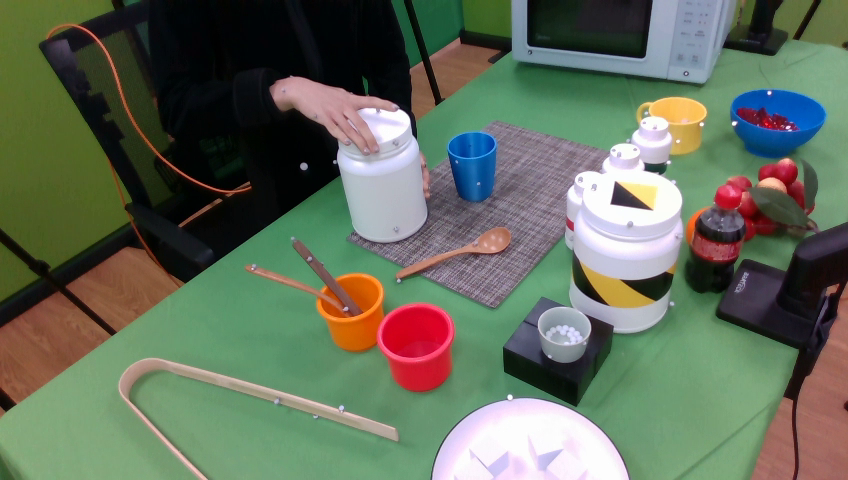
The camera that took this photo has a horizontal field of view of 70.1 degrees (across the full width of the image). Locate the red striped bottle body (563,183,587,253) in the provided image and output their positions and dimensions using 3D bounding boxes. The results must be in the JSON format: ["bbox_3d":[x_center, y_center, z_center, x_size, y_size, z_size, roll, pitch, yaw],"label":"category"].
[{"bbox_3d":[0.246,-0.041,0.910,0.063,0.120,0.062,-2,38,2],"label":"red striped bottle body"}]

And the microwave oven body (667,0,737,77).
[{"bbox_3d":[0.462,-0.552,1.368,0.439,0.261,0.326,15,45,26],"label":"microwave oven body"}]

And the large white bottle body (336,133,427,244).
[{"bbox_3d":[-0.068,-0.101,0.974,0.130,0.185,0.130,-4,40,4],"label":"large white bottle body"}]

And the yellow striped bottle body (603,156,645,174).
[{"bbox_3d":[0.313,-0.089,0.956,0.063,0.121,0.062,-4,40,4],"label":"yellow striped bottle body"}]

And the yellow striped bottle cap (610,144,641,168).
[{"bbox_3d":[0.307,-0.128,0.923,0.044,0.019,0.044,-6,40,5],"label":"yellow striped bottle cap"}]

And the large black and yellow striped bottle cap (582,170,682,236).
[{"bbox_3d":[0.252,-0.048,0.735,0.115,0.019,0.114,-3,40,3],"label":"large black and yellow striped bottle cap"}]

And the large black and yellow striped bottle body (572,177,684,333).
[{"bbox_3d":[0.262,0.017,0.788,0.131,0.185,0.130,-5,40,4],"label":"large black and yellow striped bottle body"}]

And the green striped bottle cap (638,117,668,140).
[{"bbox_3d":[0.369,-0.180,0.974,0.044,0.020,0.044,-4,41,4],"label":"green striped bottle cap"}]

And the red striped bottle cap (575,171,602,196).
[{"bbox_3d":[0.242,-0.081,0.876,0.044,0.018,0.044,-5,44,5],"label":"red striped bottle cap"}]

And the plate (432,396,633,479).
[{"bbox_3d":[0.112,0.261,0.634,0.209,0.038,0.208,-5,40,4],"label":"plate"}]

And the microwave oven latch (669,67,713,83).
[{"bbox_3d":[0.556,-0.349,1.261,0.078,0.029,0.030,16,46,27],"label":"microwave oven latch"}]

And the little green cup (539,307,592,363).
[{"bbox_3d":[0.168,0.115,0.721,0.061,0.039,0.061,-4,42,4],"label":"little green cup"}]

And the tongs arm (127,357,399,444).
[{"bbox_3d":[-0.213,0.205,0.755,0.382,0.026,0.051,12,45,23],"label":"tongs arm"}]

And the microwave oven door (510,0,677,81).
[{"bbox_3d":[0.354,-0.478,1.291,0.353,0.245,0.039,15,45,25],"label":"microwave oven door"}]

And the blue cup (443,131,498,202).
[{"bbox_3d":[0.087,-0.122,1.040,0.092,0.101,0.092,-5,42,5],"label":"blue cup"}]

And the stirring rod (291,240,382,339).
[{"bbox_3d":[-0.119,0.068,0.826,0.176,0.006,0.014,49,59,-4],"label":"stirring rod"}]

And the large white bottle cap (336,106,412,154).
[{"bbox_3d":[-0.076,-0.169,0.917,0.115,0.018,0.114,-3,40,3],"label":"large white bottle cap"}]

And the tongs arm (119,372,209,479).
[{"bbox_3d":[-0.258,0.257,0.700,0.384,0.028,0.028,24,55,34],"label":"tongs arm"}]

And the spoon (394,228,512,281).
[{"bbox_3d":[0.045,0.024,0.935,0.194,0.022,0.041,-18,66,-11],"label":"spoon"}]

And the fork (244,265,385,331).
[{"bbox_3d":[-0.142,0.078,0.806,0.209,0.018,0.028,30,33,-23],"label":"fork"}]

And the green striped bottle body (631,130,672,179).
[{"bbox_3d":[0.375,-0.140,1.007,0.063,0.120,0.063,-5,40,5],"label":"green striped bottle body"}]

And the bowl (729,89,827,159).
[{"bbox_3d":[0.615,-0.197,1.069,0.151,0.077,0.150,-5,40,5],"label":"bowl"}]

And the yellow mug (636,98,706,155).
[{"bbox_3d":[0.453,-0.217,1.128,0.100,0.064,0.129,-34,46,-27],"label":"yellow mug"}]
